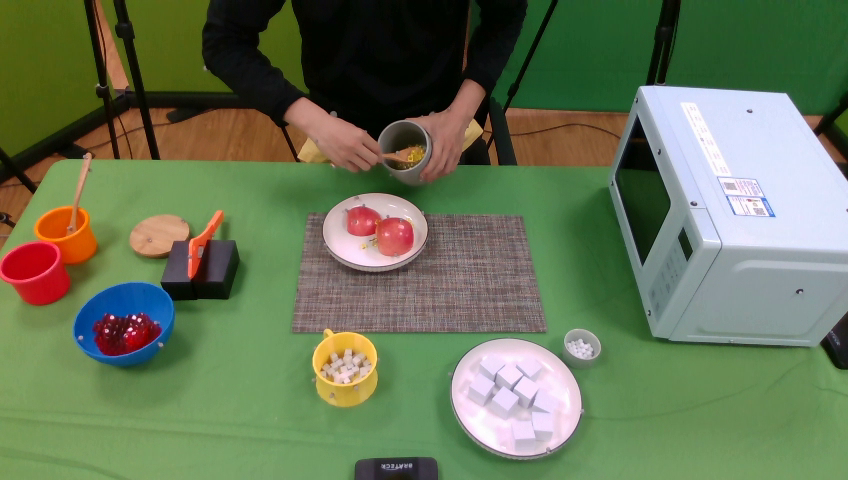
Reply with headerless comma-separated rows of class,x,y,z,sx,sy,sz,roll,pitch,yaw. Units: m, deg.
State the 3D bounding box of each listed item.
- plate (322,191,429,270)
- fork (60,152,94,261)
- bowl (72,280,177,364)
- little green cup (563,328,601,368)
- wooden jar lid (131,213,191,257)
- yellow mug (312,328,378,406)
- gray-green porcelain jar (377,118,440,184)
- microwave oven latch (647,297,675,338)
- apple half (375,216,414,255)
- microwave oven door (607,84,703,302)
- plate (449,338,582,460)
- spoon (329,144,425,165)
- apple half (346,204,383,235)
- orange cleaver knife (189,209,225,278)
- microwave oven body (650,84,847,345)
plate,-0.093,-0.015,1.185,0.209,0.038,0.208,2,46,-2
fork,-0.638,-0.063,1.119,0.028,0.018,0.207,12,90,8
bowl,-0.473,0.147,0.982,0.151,0.077,0.150,2,46,-2
little green cup,0.265,0.184,1.025,0.061,0.039,0.061,1,46,-1
wooden jar lid,-0.504,-0.008,1.167,0.108,0.021,0.107,3,46,-3
yellow mug,-0.132,0.193,0.971,0.100,0.064,0.130,-22,51,-22
gray-green porcelain jar,-0.027,-0.174,1.216,0.106,0.127,0.105,-2,81,13
microwave oven latch,0.413,0.133,1.060,0.030,0.029,0.078,5,46,2
apple half,-0.056,-0.017,1.169,0.075,0.053,0.080,0,46,-7
microwave oven door,0.424,-0.096,1.138,0.039,0.245,0.353,3,46,-1
plate,0.141,0.251,0.956,0.208,0.039,0.206,2,46,-2
spoon,-0.085,-0.157,1.125,0.194,0.022,0.041,-9,58,-31
apple half,-0.119,-0.049,1.207,0.081,0.033,0.081,2,50,-2
orange cleaver knife,-0.401,0.002,1.122,0.012,0.077,0.210,3,22,-4
microwave oven body,0.569,-0.054,1.116,0.326,0.261,0.439,2,46,-1
